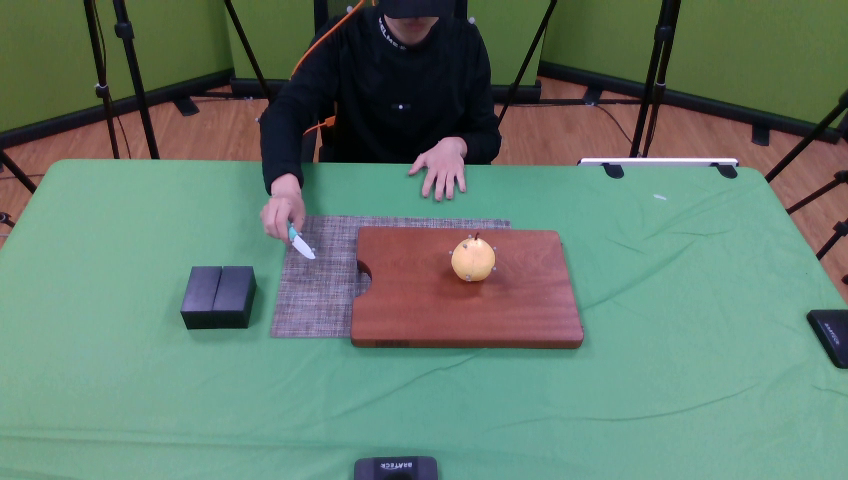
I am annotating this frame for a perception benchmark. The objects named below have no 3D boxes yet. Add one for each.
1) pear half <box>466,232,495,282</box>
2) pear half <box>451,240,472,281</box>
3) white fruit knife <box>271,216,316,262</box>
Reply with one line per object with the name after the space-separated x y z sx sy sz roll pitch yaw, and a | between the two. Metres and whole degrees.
0.100 0.024 1.085 0.056 0.110 0.076 -11 51 -15 | pear half
0.065 0.036 1.085 0.031 0.088 0.070 -11 51 -13 | pear half
-0.231 -0.003 1.071 0.016 0.027 0.206 6 16 -35 | white fruit knife
